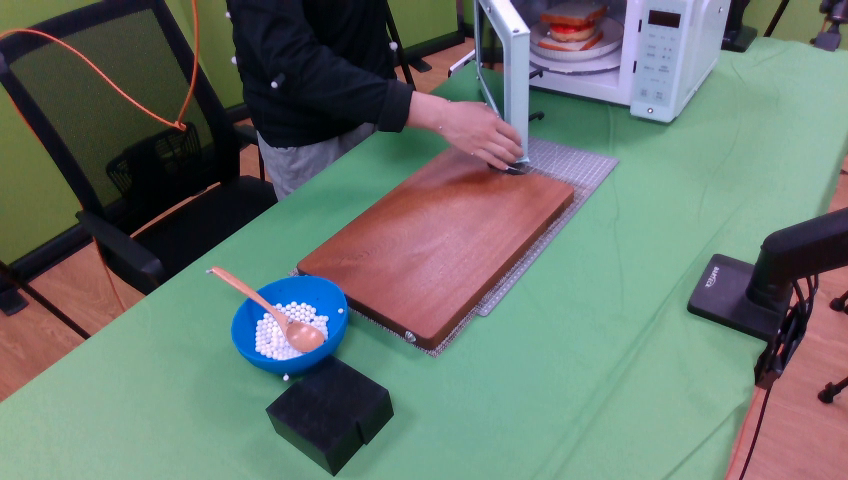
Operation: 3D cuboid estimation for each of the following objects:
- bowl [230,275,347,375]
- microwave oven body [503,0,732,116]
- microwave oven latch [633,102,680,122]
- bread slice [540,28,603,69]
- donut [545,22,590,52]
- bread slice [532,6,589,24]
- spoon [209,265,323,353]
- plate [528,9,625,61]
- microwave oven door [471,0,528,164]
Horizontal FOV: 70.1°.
[{"bbox_3d":[-0.171,0.125,0.802,0.151,0.077,0.150,-4,40,4],"label":"bowl"},{"bbox_3d":[0.377,-0.462,1.267,0.438,0.261,0.327,21,48,30],"label":"microwave oven body"},{"bbox_3d":[0.444,-0.249,1.157,0.078,0.029,0.030,21,49,30],"label":"microwave oven latch"},{"bbox_3d":[0.330,-0.426,1.341,0.104,0.019,0.131,18,59,40],"label":"bread slice"},{"bbox_3d":[0.308,-0.432,1.297,0.099,0.048,0.098,-23,34,17],"label":"donut"},{"bbox_3d":[0.291,-0.477,1.277,0.106,0.018,0.134,4,29,18],"label":"bread slice"},{"bbox_3d":[-0.213,0.087,0.806,0.193,0.021,0.042,37,57,11],"label":"spoon"},{"bbox_3d":[0.333,-0.447,1.330,0.207,0.039,0.206,-6,43,6],"label":"plate"},{"bbox_3d":[0.140,-0.342,1.154,0.039,0.245,0.353,-9,40,-2],"label":"microwave oven door"}]
